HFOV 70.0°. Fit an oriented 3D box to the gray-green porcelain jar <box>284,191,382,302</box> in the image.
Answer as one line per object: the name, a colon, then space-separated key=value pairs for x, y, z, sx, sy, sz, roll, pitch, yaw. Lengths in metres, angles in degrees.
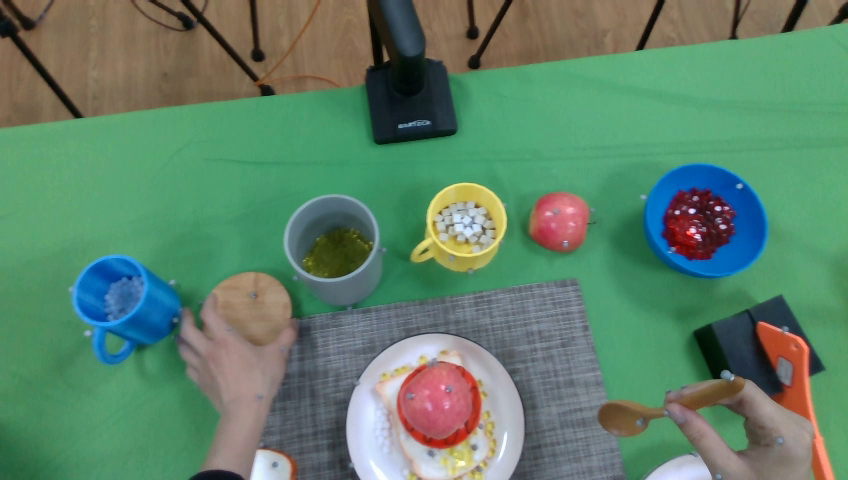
gray-green porcelain jar: x=-0.104 y=0.014 z=0.728 sx=0.106 sy=0.127 sz=0.105 roll=1 pitch=71 yaw=-2

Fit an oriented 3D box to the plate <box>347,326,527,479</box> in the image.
plate: x=0.015 y=0.206 z=0.709 sx=0.208 sy=0.039 sz=0.206 roll=1 pitch=72 yaw=-2

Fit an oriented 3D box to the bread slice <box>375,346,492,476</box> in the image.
bread slice: x=0.019 y=0.204 z=0.711 sx=0.107 sy=0.018 sz=0.133 roll=-24 pitch=73 yaw=-9

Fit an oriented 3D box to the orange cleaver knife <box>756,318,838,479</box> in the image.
orange cleaver knife: x=0.434 y=0.193 z=0.707 sx=0.012 sy=0.077 sz=0.211 roll=-18 pitch=94 yaw=-15

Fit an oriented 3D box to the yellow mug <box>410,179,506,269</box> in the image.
yellow mug: x=0.038 y=-0.012 z=0.773 sx=0.131 sy=0.064 sz=0.099 roll=-31 pitch=74 yaw=-11

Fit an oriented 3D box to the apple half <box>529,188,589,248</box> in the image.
apple half: x=0.178 y=-0.035 z=0.792 sx=0.074 sy=0.053 sz=0.080 roll=13 pitch=71 yaw=5

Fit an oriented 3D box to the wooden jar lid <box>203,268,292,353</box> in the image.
wooden jar lid: x=-0.217 y=0.089 z=0.752 sx=0.108 sy=0.021 sz=0.107 roll=0 pitch=68 yaw=0

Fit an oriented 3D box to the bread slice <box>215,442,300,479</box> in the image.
bread slice: x=-0.192 y=0.297 z=0.683 sx=0.105 sy=0.019 sz=0.130 roll=-1 pitch=73 yaw=-3

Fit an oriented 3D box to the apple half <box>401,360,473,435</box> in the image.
apple half: x=0.015 y=0.169 z=0.654 sx=0.081 sy=0.033 sz=0.081 roll=-2 pitch=71 yaw=5

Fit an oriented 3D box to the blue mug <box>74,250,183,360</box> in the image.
blue mug: x=-0.346 y=0.083 z=0.707 sx=0.082 sy=0.106 sz=0.116 roll=12 pitch=71 yaw=2

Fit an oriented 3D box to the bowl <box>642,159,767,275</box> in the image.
bowl: x=0.345 y=-0.019 z=0.779 sx=0.151 sy=0.077 sz=0.150 roll=1 pitch=72 yaw=-1

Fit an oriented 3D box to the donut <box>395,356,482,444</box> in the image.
donut: x=0.018 y=0.181 z=0.688 sx=0.099 sy=0.048 sz=0.098 roll=1 pitch=71 yaw=-1

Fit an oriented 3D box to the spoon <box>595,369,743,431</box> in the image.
spoon: x=0.189 y=0.130 z=0.481 sx=0.041 sy=0.194 sz=0.021 roll=38 pitch=68 yaw=7

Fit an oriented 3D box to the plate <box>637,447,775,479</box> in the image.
plate: x=0.319 y=0.340 z=0.677 sx=0.209 sy=0.038 sz=0.207 roll=1 pitch=71 yaw=-1
